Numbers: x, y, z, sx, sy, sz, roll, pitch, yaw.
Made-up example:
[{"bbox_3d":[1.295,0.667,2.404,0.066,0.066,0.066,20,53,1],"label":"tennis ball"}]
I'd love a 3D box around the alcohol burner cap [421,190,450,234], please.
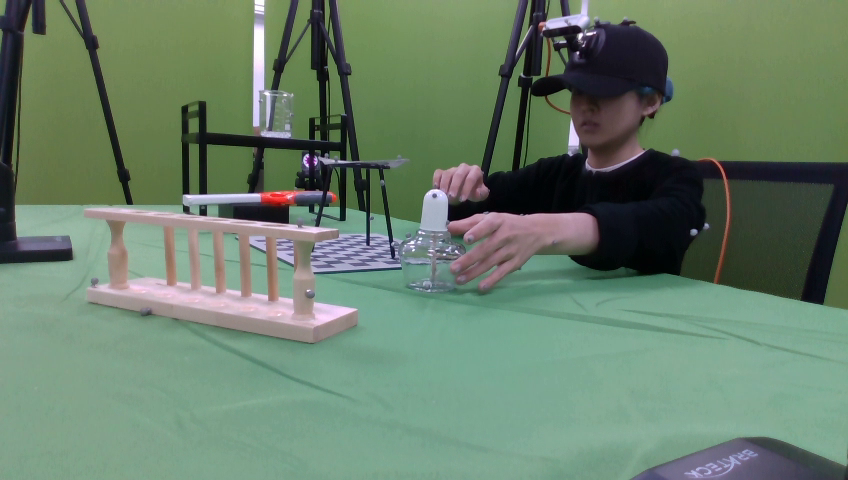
[{"bbox_3d":[0.014,-0.031,0.665,0.034,0.048,0.034,4,9,0],"label":"alcohol burner cap"}]

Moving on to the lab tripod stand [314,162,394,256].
[{"bbox_3d":[-0.098,-0.048,0.897,0.148,0.131,0.148,1,6,0],"label":"lab tripod stand"}]

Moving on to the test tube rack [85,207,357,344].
[{"bbox_3d":[-0.177,0.022,0.518,0.241,0.085,0.067,6,7,23],"label":"test tube rack"}]

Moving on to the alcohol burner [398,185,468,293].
[{"bbox_3d":[0.011,-0.001,0.669,0.078,0.119,0.078,4,8,0],"label":"alcohol burner"}]

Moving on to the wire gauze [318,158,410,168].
[{"bbox_3d":[-0.090,-0.114,0.888,0.122,0.011,0.124,0,6,-15],"label":"wire gauze"}]

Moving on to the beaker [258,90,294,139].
[{"bbox_3d":[-0.324,-0.274,1.331,0.083,0.100,0.074,7,9,24],"label":"beaker"}]

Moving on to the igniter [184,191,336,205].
[{"bbox_3d":[-0.298,-0.078,1.125,0.278,0.025,0.057,-4,13,-32],"label":"igniter"}]
